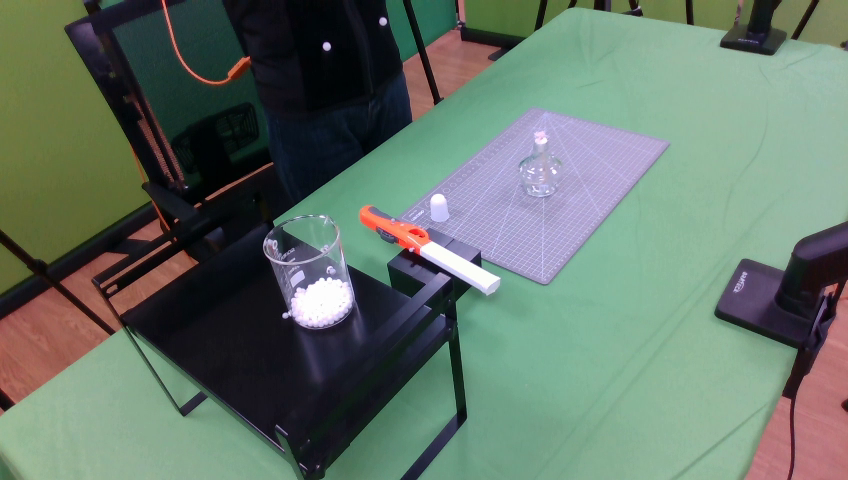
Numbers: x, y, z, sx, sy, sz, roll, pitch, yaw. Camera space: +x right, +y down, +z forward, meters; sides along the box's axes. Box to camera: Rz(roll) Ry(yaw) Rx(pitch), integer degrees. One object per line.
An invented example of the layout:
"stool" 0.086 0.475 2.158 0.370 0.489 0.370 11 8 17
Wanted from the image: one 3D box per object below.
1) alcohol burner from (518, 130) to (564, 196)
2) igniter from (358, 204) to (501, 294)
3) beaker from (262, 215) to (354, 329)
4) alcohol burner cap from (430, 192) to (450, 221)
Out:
"alcohol burner" 0.199 -0.135 1.027 0.078 0.119 0.077 -5 42 5
"igniter" -0.004 0.006 0.892 0.274 0.025 0.057 29 41 34
"beaker" -0.112 0.034 0.616 0.073 0.101 0.084 13 44 23
"alcohol burner cap" 0.025 -0.059 1.020 0.034 0.048 0.033 -4 41 4
